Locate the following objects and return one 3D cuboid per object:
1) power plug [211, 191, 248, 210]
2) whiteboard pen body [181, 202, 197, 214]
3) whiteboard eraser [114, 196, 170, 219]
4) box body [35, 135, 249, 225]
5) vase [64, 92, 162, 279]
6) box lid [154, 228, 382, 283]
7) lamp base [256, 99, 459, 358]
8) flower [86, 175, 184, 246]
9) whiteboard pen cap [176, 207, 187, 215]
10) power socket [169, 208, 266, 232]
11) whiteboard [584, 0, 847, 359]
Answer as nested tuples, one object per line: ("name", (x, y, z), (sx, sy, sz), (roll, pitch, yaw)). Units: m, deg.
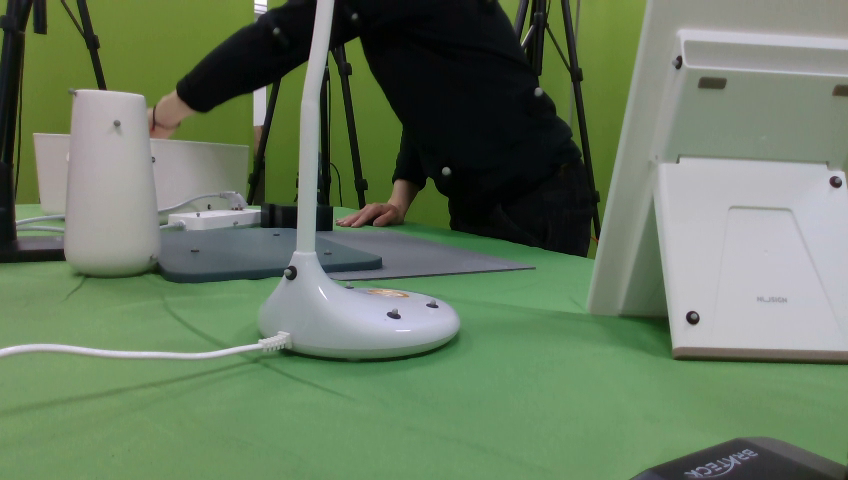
("power plug", (-0.384, -0.071, 1.206), (0.072, 0.052, 0.035), (1, 8, 27))
("whiteboard pen body", (-0.519, -0.070, 1.330), (0.017, 0.017, 0.140), (1, 9, -11))
("whiteboard eraser", (-0.546, -0.063, 1.174), (0.055, 0.042, 0.112), (5, 6, 3))
("box body", (-0.561, -0.127, 1.258), (0.254, 0.160, 0.365), (4, 8, 13))
("vase", (-0.347, -0.060, 0.672), (0.098, 0.200, 0.098), (1, 7, 0))
("box lid", (-0.250, 0.014, 0.852), (0.265, 0.015, 0.369), (-3, 9, -32))
("lamp base", (-0.055, -0.013, 0.463), (0.160, 0.180, 0.180), (6, 11, 27))
("flower", (-0.610, -0.066, 1.289), (0.044, 0.038, 0.361), (-5, 24, 9))
("whiteboard pen cap", (-0.511, -0.062, 1.273), (0.018, 0.018, 0.033), (1, 9, -10))
("power socket", (-0.379, -0.038, 1.130), (0.072, 0.032, 0.227), (4, 8, 18))
("whiteboard", (0.269, -0.034, 0.466), (0.217, 0.305, 0.143), (2, 27, -1))
